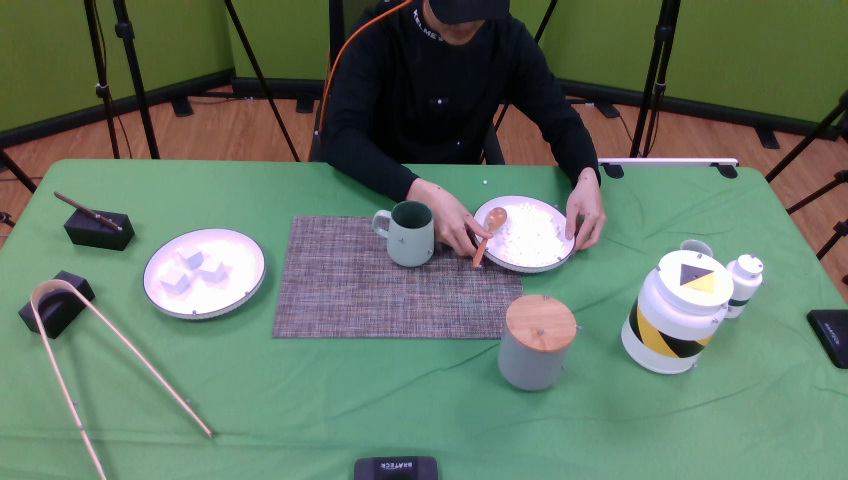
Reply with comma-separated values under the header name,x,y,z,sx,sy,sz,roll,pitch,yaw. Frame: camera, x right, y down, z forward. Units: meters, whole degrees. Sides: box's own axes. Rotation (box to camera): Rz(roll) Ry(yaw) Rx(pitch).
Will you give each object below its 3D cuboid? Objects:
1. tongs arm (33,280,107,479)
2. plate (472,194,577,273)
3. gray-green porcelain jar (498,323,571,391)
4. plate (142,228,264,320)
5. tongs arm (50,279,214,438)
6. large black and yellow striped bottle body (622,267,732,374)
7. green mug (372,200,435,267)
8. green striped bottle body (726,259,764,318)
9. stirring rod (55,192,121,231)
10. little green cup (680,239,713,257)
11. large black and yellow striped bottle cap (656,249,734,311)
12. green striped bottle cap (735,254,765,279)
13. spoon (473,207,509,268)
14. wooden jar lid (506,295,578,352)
name,x,y,z,sx,sy,sz,roll,pitch,yaw
tongs arm,-0.517,0.214,0.910,0.051,0.026,0.383,-28,63,-27
plate,0.195,-0.010,1.204,0.209,0.038,0.208,4,46,-4
gray-green porcelain jar,0.176,0.172,0.971,0.106,0.127,0.105,2,46,-2
plate,-0.394,0.064,1.095,0.208,0.039,0.206,2,46,-2
tongs arm,-0.459,0.178,0.949,0.386,0.028,0.028,37,60,17
large black and yellow striped bottle body,0.415,0.119,0.997,0.131,0.185,0.130,2,46,-2
green mug,-0.040,-0.016,1.146,0.125,0.105,0.092,17,48,13
green striped bottle body,0.563,0.081,1.089,0.063,0.120,0.063,2,46,-2
stirring rod,-0.632,-0.055,1.138,0.175,0.014,0.006,24,50,19
little green cup,0.530,0.033,1.189,0.061,0.039,0.061,2,48,-2
large black and yellow striped bottle cap,0.419,0.061,0.938,0.115,0.019,0.114,2,47,-2
green striped bottle cap,0.566,0.046,1.051,0.044,0.020,0.044,0,45,0
spoon,0.124,-0.008,1.171,0.041,0.022,0.193,8,36,20
wooden jar lid,0.179,0.130,0.925,0.108,0.021,0.107,2,43,-2
